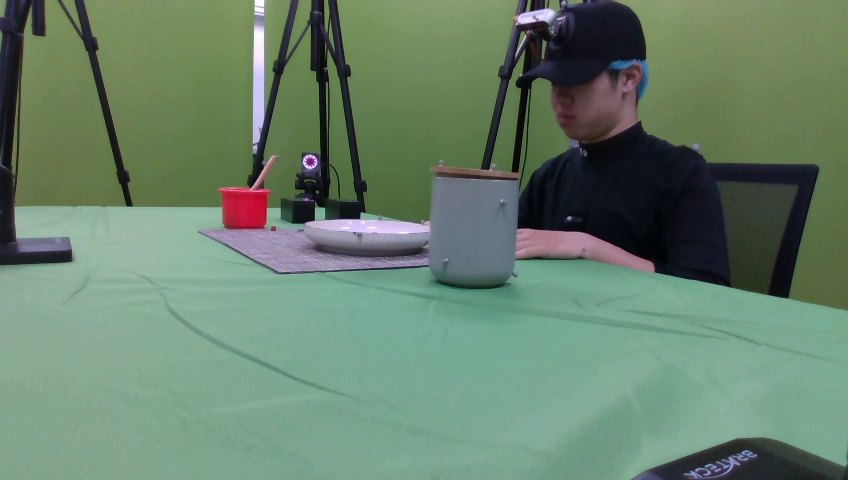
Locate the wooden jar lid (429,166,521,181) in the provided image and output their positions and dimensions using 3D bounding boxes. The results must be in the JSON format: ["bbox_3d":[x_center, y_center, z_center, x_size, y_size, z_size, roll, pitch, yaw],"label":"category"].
[{"bbox_3d":[0.059,-0.074,0.714,0.108,0.020,0.108,4,6,0],"label":"wooden jar lid"}]

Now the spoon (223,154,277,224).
[{"bbox_3d":[-0.345,-0.106,1.214,0.041,0.022,0.194,2,45,26],"label":"spoon"}]

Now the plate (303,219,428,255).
[{"bbox_3d":[-0.084,-0.005,0.952,0.208,0.039,0.207,2,7,0],"label":"plate"}]

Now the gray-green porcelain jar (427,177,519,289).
[{"bbox_3d":[0.057,-0.010,0.722,0.106,0.126,0.106,2,7,0],"label":"gray-green porcelain jar"}]
